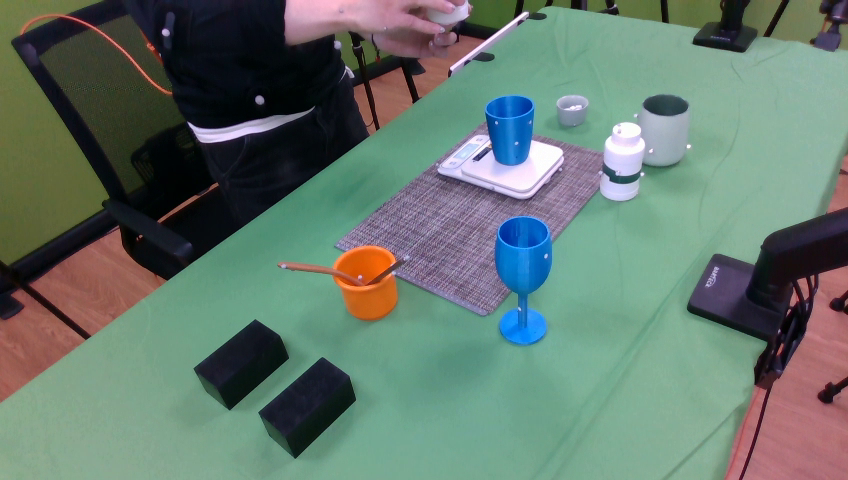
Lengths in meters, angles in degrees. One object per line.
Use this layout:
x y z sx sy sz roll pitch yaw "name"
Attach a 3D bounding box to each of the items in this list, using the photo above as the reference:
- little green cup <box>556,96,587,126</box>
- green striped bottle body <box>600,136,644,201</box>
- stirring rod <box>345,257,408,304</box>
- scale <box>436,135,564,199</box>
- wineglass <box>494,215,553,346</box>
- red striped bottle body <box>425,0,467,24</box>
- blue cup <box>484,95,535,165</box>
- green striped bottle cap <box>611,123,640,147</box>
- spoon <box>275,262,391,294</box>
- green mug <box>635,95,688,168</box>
0.295 -0.258 1.214 0.061 0.039 0.061 -4 41 4 "little green cup"
0.326 -0.128 0.997 0.063 0.120 0.063 -4 41 4 "green striped bottle body"
-0.067 0.057 0.814 0.014 0.175 0.006 -25 82 -38 "stirring rod"
0.137 -0.142 1.101 0.199 0.032 0.149 22 48 30 "scale"
0.126 0.055 0.770 0.074 0.173 0.073 -4 40 4 "wineglass"
0.028 -0.376 0.859 0.063 0.120 0.062 -4 47 4 "red striped bottle body"
0.150 -0.188 1.052 0.092 0.100 0.092 -6 39 5 "blue cup"
0.322 -0.168 0.963 0.044 0.020 0.044 -3 42 3 "green striped bottle cap"
-0.120 0.050 0.830 0.041 0.195 0.021 31 97 45 "spoon"
0.421 -0.201 1.081 0.092 0.105 0.125 5 42 15 "green mug"
